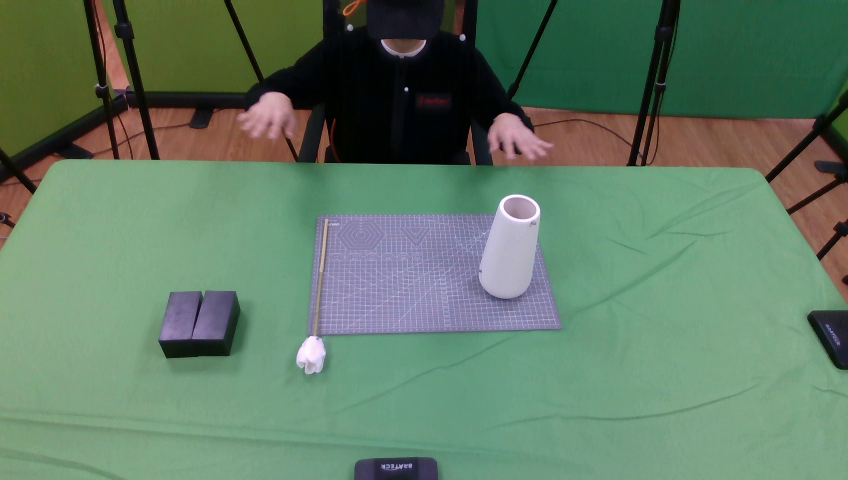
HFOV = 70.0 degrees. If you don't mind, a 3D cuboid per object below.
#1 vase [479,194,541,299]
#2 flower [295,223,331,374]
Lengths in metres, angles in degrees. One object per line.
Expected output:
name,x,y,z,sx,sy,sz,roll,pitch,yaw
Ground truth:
vase,0.152,0.015,1.066,0.098,0.201,0.097,1,47,-1
flower,-0.190,0.087,1.104,0.044,0.038,0.359,28,35,-23
